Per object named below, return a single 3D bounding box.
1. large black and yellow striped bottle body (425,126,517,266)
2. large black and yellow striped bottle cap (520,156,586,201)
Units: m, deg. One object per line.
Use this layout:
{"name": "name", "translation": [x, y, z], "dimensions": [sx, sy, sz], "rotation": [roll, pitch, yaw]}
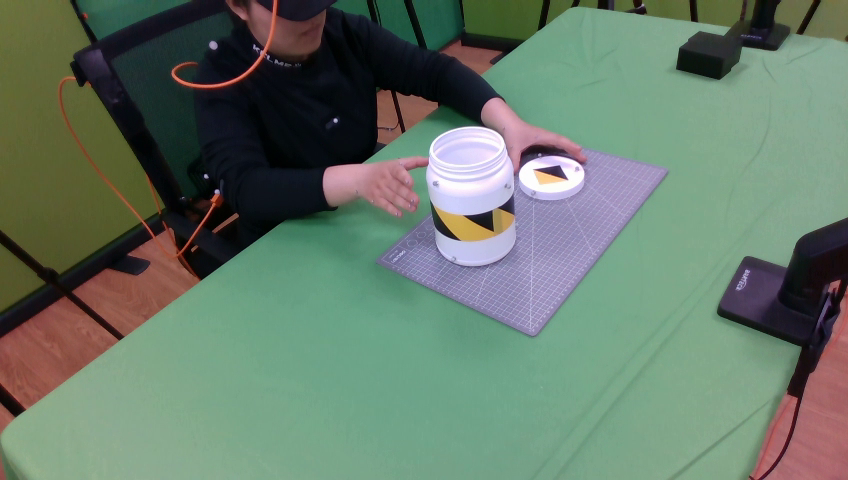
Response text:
{"name": "large black and yellow striped bottle body", "translation": [0.072, -0.066, 0.917], "dimensions": [0.131, 0.185, 0.130], "rotation": [-5, 40, 5]}
{"name": "large black and yellow striped bottle cap", "translation": [0.228, -0.111, 1.072], "dimensions": [0.115, 0.019, 0.114], "rotation": [-6, 40, 6]}
